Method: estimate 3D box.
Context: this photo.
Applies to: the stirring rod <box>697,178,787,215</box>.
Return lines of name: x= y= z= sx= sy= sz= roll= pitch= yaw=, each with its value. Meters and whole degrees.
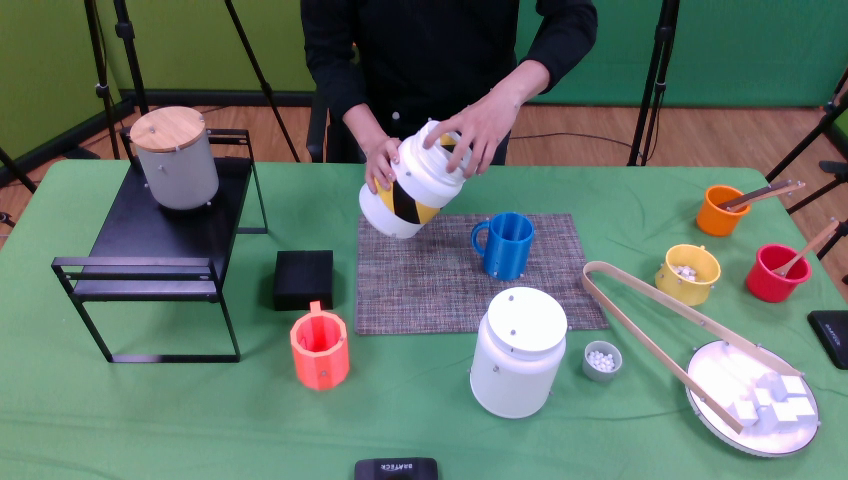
stirring rod: x=0.650 y=-0.088 z=1.246 sx=0.006 sy=0.176 sz=0.014 roll=29 pitch=50 yaw=-39

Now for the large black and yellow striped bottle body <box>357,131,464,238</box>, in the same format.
large black and yellow striped bottle body: x=-0.017 y=-0.103 z=1.065 sx=0.131 sy=0.184 sz=0.130 roll=28 pitch=40 yaw=-26

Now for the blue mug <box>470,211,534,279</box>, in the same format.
blue mug: x=0.141 y=0.005 z=1.140 sx=0.116 sy=0.106 sz=0.082 roll=18 pitch=48 yaw=13

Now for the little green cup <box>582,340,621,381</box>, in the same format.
little green cup: x=0.295 y=0.204 z=1.014 sx=0.061 sy=0.039 sz=0.061 roll=2 pitch=45 yaw=-2

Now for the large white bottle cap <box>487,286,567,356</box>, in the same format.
large white bottle cap: x=0.147 y=0.114 z=0.869 sx=0.115 sy=0.018 sz=0.114 roll=3 pitch=46 yaw=-3

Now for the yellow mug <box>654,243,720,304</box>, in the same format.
yellow mug: x=0.504 y=0.054 z=1.154 sx=0.099 sy=0.064 sz=0.130 roll=29 pitch=50 yaw=22

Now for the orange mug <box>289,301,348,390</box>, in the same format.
orange mug: x=-0.170 y=0.162 z=0.976 sx=0.083 sy=0.101 sz=0.125 roll=-8 pitch=52 yaw=-12

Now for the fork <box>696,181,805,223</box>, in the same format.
fork: x=0.659 y=-0.077 z=1.231 sx=0.207 sy=0.019 sz=0.028 roll=-26 pitch=35 yaw=34

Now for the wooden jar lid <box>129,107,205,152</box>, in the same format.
wooden jar lid: x=-0.385 y=-0.163 z=0.915 sx=0.108 sy=0.021 sz=0.107 roll=2 pitch=47 yaw=-2

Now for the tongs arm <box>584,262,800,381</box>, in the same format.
tongs arm: x=0.452 y=0.137 z=1.064 sx=0.051 sy=0.027 sz=0.382 roll=-34 pitch=50 yaw=-27

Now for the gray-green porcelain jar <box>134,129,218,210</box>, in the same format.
gray-green porcelain jar: x=-0.388 y=-0.120 z=0.960 sx=0.106 sy=0.127 sz=0.105 roll=2 pitch=46 yaw=-2

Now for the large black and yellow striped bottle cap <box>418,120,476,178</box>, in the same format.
large black and yellow striped bottle cap: x=0.040 y=-0.153 z=1.013 sx=0.115 sy=0.019 sz=0.114 roll=33 pitch=33 yaw=-24

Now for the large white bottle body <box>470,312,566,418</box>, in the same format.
large white bottle body: x=0.143 y=0.173 z=0.930 sx=0.131 sy=0.185 sz=0.130 roll=2 pitch=46 yaw=-2

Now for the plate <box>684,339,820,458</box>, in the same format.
plate: x=0.523 y=0.256 z=0.982 sx=0.208 sy=0.039 sz=0.206 roll=2 pitch=46 yaw=-2

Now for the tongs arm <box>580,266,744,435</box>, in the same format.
tongs arm: x=0.384 y=0.173 z=1.028 sx=0.028 sy=0.028 sz=0.385 roll=-25 pitch=46 yaw=-15

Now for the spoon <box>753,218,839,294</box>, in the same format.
spoon: x=0.700 y=0.031 z=1.138 sx=0.194 sy=0.022 sz=0.041 roll=-47 pitch=55 yaw=14
